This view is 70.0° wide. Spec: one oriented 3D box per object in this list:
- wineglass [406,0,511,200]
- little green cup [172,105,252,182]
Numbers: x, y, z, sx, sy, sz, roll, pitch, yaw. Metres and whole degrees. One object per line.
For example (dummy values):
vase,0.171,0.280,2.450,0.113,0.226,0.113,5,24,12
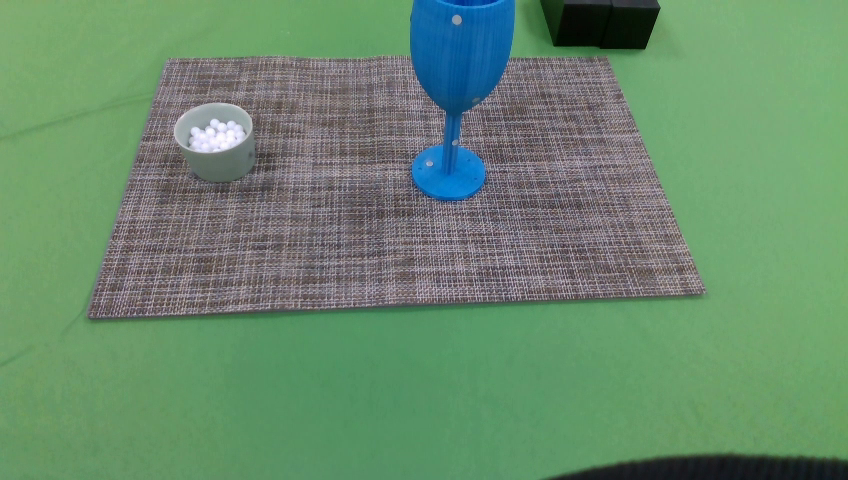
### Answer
wineglass,0.021,-0.112,0.456,0.074,0.174,0.073,2,52,-2
little green cup,-0.173,-0.079,0.504,0.061,0.039,0.061,2,51,-2
